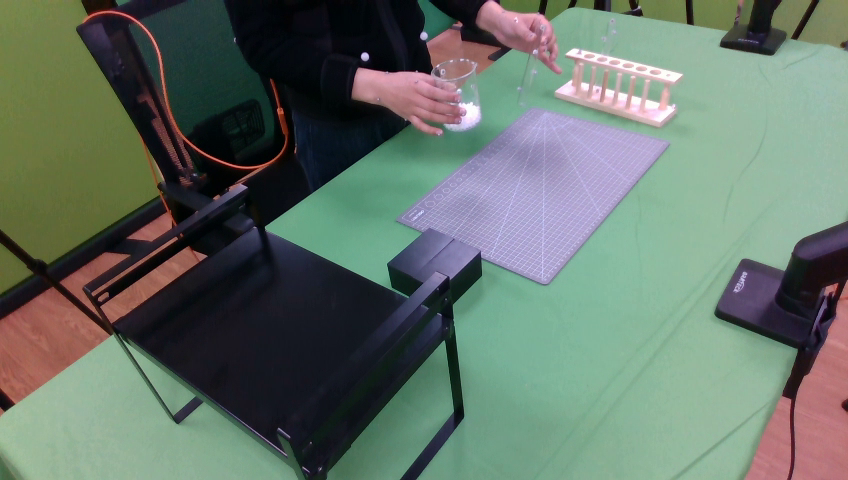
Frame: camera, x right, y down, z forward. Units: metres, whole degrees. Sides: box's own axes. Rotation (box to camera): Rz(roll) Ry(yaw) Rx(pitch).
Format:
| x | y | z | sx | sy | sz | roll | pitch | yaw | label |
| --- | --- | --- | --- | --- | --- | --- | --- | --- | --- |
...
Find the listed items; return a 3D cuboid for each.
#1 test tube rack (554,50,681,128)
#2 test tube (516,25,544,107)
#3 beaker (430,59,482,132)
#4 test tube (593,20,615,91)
| x | y | z | sx | sy | sz | roll | pitch | yaw | label |
| --- | --- | --- | --- | --- | --- | --- | --- | --- | --- |
| 0.387 | -0.312 | 1.234 | 0.240 | 0.085 | 0.067 | 28 | 52 | 35 | test tube rack |
| 0.189 | -0.308 | 1.082 | 0.017 | 0.151 | 0.017 | 7 | 34 | -5 | test tube |
| 0.059 | -0.241 | 1.015 | 0.084 | 0.101 | 0.073 | -25 | 41 | -13 | beaker |
| 0.366 | -0.372 | 1.232 | 0.017 | 0.151 | 0.017 | 0 | 43 | 0 | test tube |
